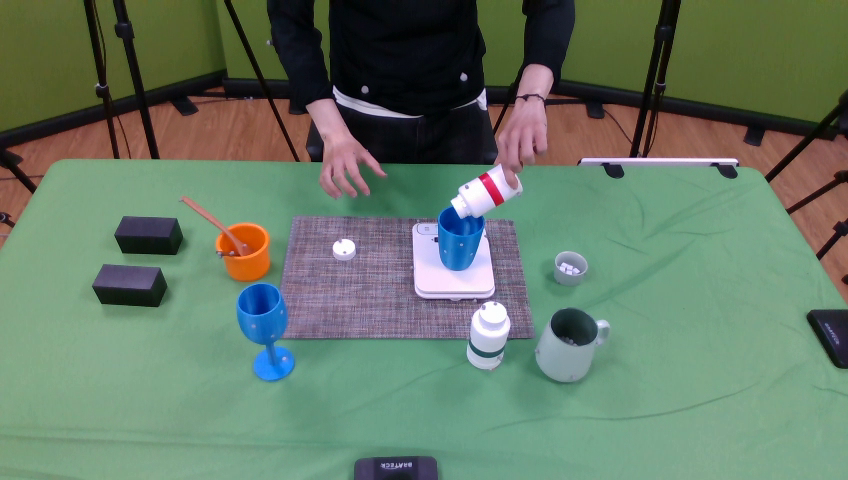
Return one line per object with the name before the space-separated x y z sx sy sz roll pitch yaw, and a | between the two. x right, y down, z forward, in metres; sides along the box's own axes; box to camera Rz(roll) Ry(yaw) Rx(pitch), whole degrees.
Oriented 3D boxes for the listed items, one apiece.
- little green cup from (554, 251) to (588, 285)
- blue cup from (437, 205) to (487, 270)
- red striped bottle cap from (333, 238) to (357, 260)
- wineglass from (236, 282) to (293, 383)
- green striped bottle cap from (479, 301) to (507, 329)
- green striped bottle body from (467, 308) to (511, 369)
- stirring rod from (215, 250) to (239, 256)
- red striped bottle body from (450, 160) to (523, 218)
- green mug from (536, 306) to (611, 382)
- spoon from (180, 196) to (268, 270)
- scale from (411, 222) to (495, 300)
little green cup | 0.276 0.055 1.151 0.061 0.039 0.061 1 47 -1
blue cup | 0.062 0.000 1.098 0.093 0.101 0.092 2 44 -2
red striped bottle cap | -0.153 0.017 1.165 0.044 0.018 0.044 -7 51 9
wineglass | -0.243 0.143 0.934 0.074 0.173 0.073 2 46 -2
green striped bottle cap | 0.109 0.118 0.950 0.044 0.020 0.044 2 47 -2
green striped bottle body | 0.106 0.153 0.988 0.063 0.120 0.063 2 46 -2
stirring rod | -0.339 0.024 1.059 0.014 0.176 0.006 16 86 -6
red striped bottle body | 0.106 -0.084 1.054 0.120 0.063 0.062 -30 50 3
green mug | 0.250 0.167 0.996 0.125 0.105 0.092 -15 49 -19
spoon | -0.360 -0.014 1.094 0.021 0.194 0.041 -28 26 31
scale | 0.052 0.031 1.158 0.149 0.032 0.199 1 46 -4
